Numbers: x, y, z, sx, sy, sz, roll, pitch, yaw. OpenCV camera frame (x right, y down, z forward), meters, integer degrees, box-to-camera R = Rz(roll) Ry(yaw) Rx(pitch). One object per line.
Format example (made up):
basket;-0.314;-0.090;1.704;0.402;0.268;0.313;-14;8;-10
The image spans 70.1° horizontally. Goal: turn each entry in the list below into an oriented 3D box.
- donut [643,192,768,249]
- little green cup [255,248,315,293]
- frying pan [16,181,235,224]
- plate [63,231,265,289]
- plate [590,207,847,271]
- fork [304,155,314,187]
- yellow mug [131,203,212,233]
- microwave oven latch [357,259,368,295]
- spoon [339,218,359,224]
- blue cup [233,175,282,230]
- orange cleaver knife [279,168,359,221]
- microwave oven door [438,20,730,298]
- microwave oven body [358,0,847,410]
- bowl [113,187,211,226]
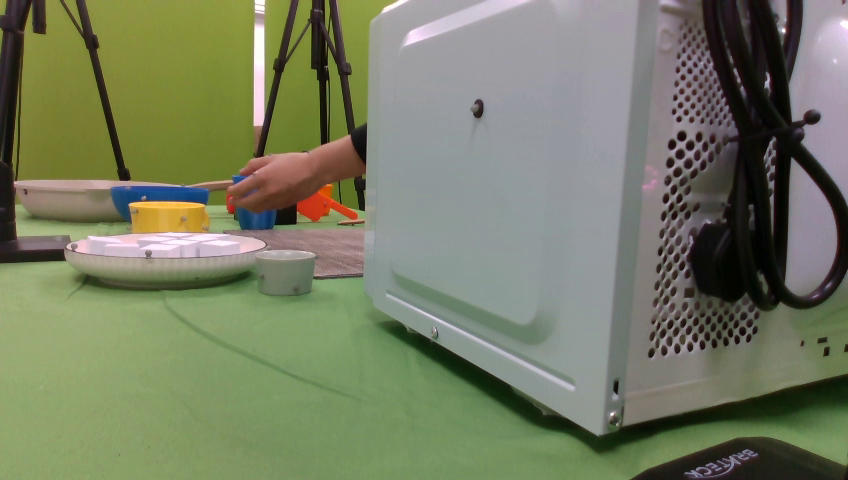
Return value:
donut;0.239;-0.017;0.518;0.099;0.048;0.099;3;5;0
little green cup;-0.144;0.031;0.627;0.061;0.038;0.061;2;6;0
frying pan;-0.554;-0.097;1.266;0.490;0.102;0.305;-10;13;-24
plate;-0.288;0.021;0.687;0.208;0.039;0.207;2;8;0
plate;0.246;-0.003;0.510;0.209;0.038;0.209;3;6;0
fork;-0.268;-0.134;1.446;0.028;0.018;0.207;1;-36;-1
yellow mug;-0.356;-0.020;0.878;0.099;0.064;0.131;5;7;22
microwave oven latch;-0.019;0.031;0.529;0.079;0.029;0.030;-1;7;-26
spoon;-0.087;-0.041;1.268;0.193;0.021;0.041;3;20;13
blue cup;-0.314;-0.071;1.141;0.093;0.100;0.092;0;7;0
orange cleaver knife;-0.236;-0.084;1.332;0.212;0.077;0.012;31;-9;-31
microwave oven door;0.181;-0.076;0.618;0.358;0.243;0.039;-2;8;-28
microwave oven body;0.210;-0.051;0.471;0.444;0.260;0.324;-1;7;-28
bowl;-0.436;-0.046;1.013;0.151;0.077;0.151;2;7;0
